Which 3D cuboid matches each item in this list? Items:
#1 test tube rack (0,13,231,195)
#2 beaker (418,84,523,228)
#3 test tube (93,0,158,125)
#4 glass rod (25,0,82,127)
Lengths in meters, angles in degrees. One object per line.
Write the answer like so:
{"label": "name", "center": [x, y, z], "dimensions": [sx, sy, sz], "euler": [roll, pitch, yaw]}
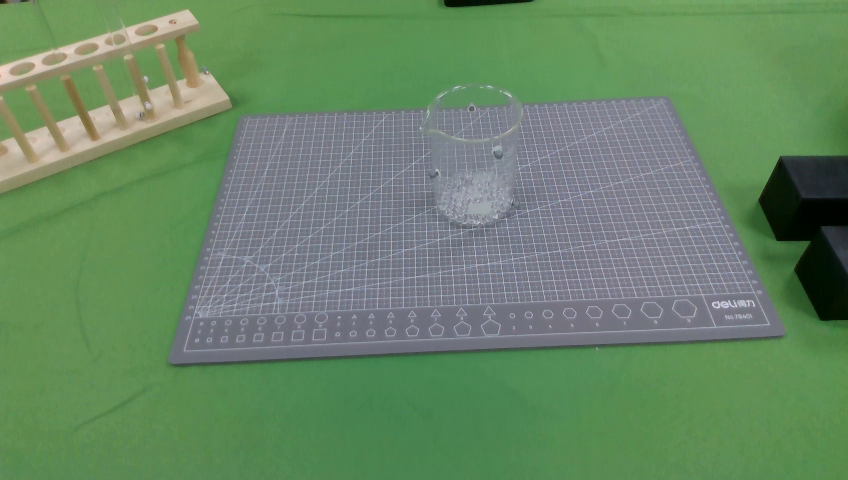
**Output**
{"label": "test tube rack", "center": [-0.327, -0.136, 0.596], "dimensions": [0.242, 0.086, 0.066], "euler": [-27, 52, -20]}
{"label": "beaker", "center": [0.038, -0.066, 0.504], "dimensions": [0.084, 0.101, 0.073], "euler": [-16, 49, -11]}
{"label": "test tube", "center": [-0.281, -0.174, 0.568], "dimensions": [0.017, 0.151, 0.017], "euler": [0, 45, 1]}
{"label": "glass rod", "center": [-0.352, -0.193, 0.558], "dimensions": [0.008, 0.201, 0.008], "euler": [-1, 40, 1]}
